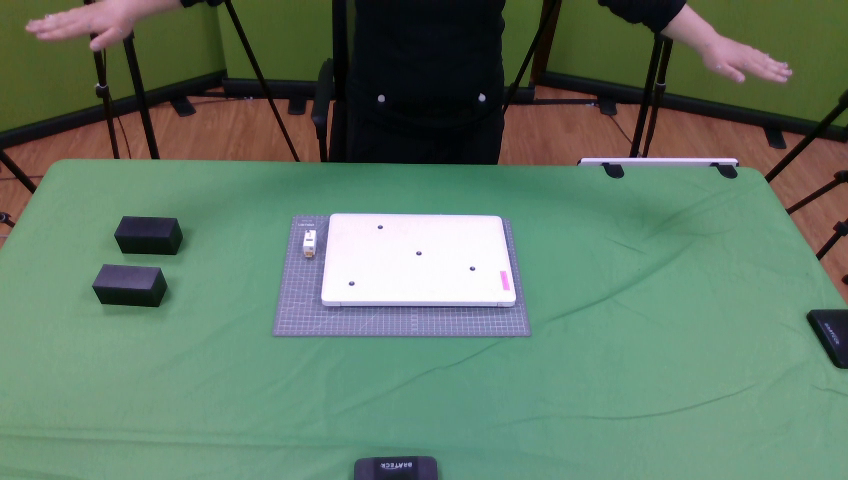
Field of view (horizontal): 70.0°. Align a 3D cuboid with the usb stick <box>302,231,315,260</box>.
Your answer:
[{"bbox_3d":[-0.223,0.011,1.163,0.021,0.027,0.059,3,48,-6],"label":"usb stick"}]

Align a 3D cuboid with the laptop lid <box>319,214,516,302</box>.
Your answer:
[{"bbox_3d":[-0.013,0.029,1.154,0.357,0.013,0.240,2,43,-3],"label":"laptop lid"}]

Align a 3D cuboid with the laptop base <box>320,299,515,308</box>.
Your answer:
[{"bbox_3d":[-0.013,0.039,1.160,0.355,0.023,0.234,0,43,-4],"label":"laptop base"}]
